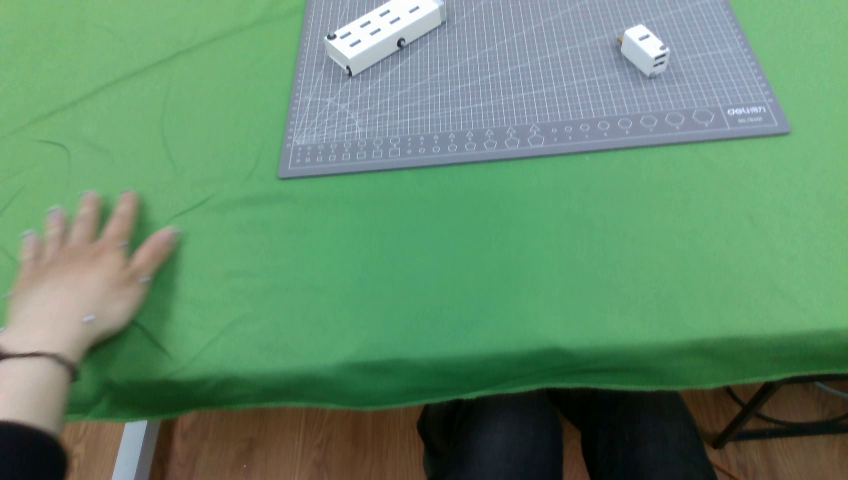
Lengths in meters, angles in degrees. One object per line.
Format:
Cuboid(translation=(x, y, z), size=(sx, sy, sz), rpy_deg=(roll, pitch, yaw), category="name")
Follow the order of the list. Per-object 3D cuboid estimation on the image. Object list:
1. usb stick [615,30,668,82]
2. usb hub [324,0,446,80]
Cuboid(translation=(0.205, -0.179, 0.578), size=(0.021, 0.027, 0.058), rpy_deg=(-25, 53, -7), category="usb stick")
Cuboid(translation=(-0.041, -0.217, 0.639), size=(0.125, 0.025, 0.049), rpy_deg=(-35, 57, -17), category="usb hub")
